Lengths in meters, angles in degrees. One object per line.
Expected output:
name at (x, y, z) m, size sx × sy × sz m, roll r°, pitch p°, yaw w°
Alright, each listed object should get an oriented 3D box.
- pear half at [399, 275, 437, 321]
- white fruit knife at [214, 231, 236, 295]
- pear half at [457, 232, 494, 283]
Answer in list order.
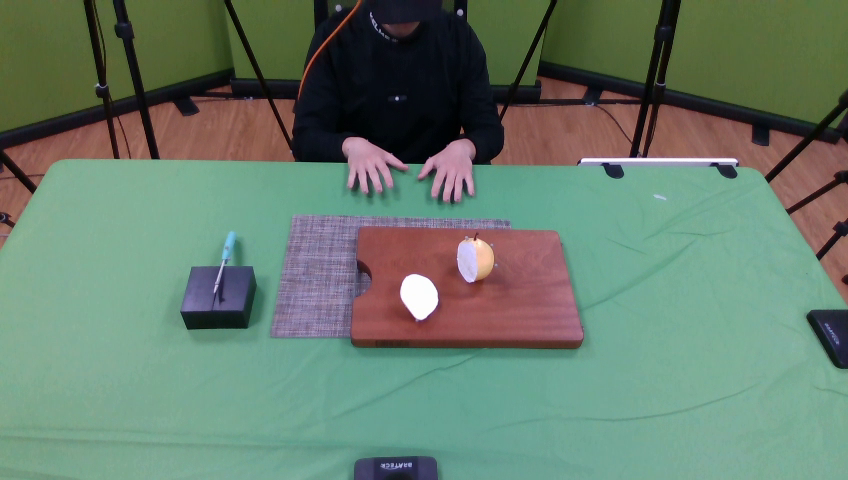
pear half at (-0.013, 0.104, 1.051) m, size 0.070 × 0.031 × 0.087 m, roll 12°, pitch 58°, yaw -15°
white fruit knife at (-0.359, 0.038, 1.091) m, size 0.016 × 0.027 × 0.206 m, roll 5°, pitch 29°, yaw -11°
pear half at (0.098, 0.023, 1.087) m, size 0.056 × 0.110 × 0.076 m, roll -22°, pitch 55°, yaw -24°
